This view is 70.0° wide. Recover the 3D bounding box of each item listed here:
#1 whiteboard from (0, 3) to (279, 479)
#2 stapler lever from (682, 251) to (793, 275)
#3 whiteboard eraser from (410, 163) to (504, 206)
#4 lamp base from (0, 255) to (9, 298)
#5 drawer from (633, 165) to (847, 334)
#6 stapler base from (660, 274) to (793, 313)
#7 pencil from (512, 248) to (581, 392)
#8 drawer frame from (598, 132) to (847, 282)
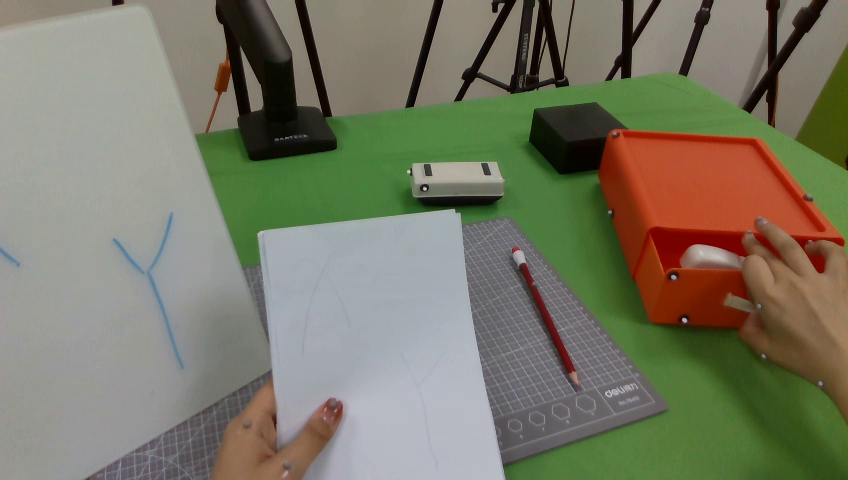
[{"bbox_3d":[-0.277,0.006,0.457,0.217,0.307,0.142,-28,28,-33],"label":"whiteboard"},{"bbox_3d":[0.314,0.033,0.599,0.118,0.040,0.026,3,53,-2],"label":"stapler lever"},{"bbox_3d":[0.041,-0.069,0.753,0.113,0.042,0.055,-1,39,-6],"label":"whiteboard eraser"},{"bbox_3d":[-0.487,-0.012,0.518,0.178,0.182,0.160,13,38,16],"label":"lamp base"},{"bbox_3d":[0.321,0.001,0.652,0.194,0.074,0.210,3,37,1],"label":"drawer"},{"bbox_3d":[0.312,0.050,0.620,0.130,0.024,0.041,2,53,-1],"label":"stapler base"},{"bbox_3d":[0.118,0.071,0.596,0.012,0.012,0.192,-5,40,-10],"label":"pencil"},{"bbox_3d":[0.324,-0.038,0.700,0.202,0.083,0.211,3,37,0],"label":"drawer frame"}]
